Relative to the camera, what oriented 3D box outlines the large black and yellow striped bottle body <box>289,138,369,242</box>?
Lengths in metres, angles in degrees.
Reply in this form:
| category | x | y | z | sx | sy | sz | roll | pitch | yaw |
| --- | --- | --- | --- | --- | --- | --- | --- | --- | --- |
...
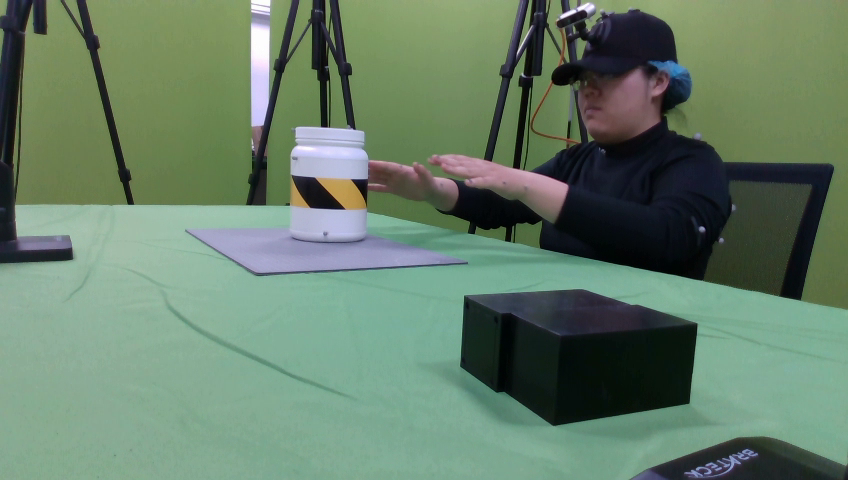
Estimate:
| category | x | y | z | sx | sy | sz | roll | pitch | yaw |
| --- | --- | --- | --- | --- | --- | --- | --- | --- | --- |
| large black and yellow striped bottle body | -0.161 | -0.094 | 1.026 | 0.131 | 0.184 | 0.130 | 3 | 8 | 0 |

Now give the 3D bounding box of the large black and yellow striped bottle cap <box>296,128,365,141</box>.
| category | x | y | z | sx | sy | sz | roll | pitch | yaw |
| --- | --- | --- | --- | --- | --- | --- | --- | --- | --- |
| large black and yellow striped bottle cap | -0.156 | -0.177 | 1.014 | 0.115 | 0.019 | 0.115 | 1 | 7 | 0 |
